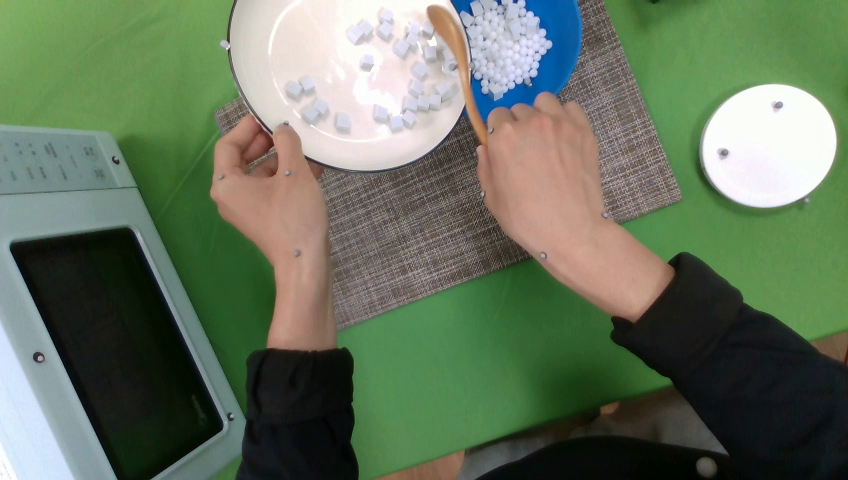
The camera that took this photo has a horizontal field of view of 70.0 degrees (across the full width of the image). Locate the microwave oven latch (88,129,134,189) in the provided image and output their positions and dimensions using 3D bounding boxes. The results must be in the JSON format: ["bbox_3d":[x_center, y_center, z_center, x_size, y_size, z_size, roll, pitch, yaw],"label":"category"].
[{"bbox_3d":[-0.393,-0.097,0.748,0.030,0.029,0.079,-24,92,18],"label":"microwave oven latch"}]

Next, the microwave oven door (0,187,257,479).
[{"bbox_3d":[-0.331,0.115,0.656,0.039,0.244,0.355,-25,90,18],"label":"microwave oven door"}]

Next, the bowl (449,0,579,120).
[{"bbox_3d":[0.076,-0.191,0.590,0.151,0.077,0.151,3,99,16],"label":"bowl"}]

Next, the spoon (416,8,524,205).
[{"bbox_3d":[0.036,-0.112,0.495,0.021,0.042,0.192,-22,76,7],"label":"spoon"}]

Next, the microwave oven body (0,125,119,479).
[{"bbox_3d":[-0.473,0.135,0.706,0.326,0.260,0.441,-25,91,18],"label":"microwave oven body"}]

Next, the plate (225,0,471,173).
[{"bbox_3d":[-0.062,-0.156,0.526,0.210,0.038,0.208,2,83,-18],"label":"plate"}]

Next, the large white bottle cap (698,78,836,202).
[{"bbox_3d":[0.320,-0.093,0.569,0.114,0.018,0.115,2,99,15],"label":"large white bottle cap"}]
